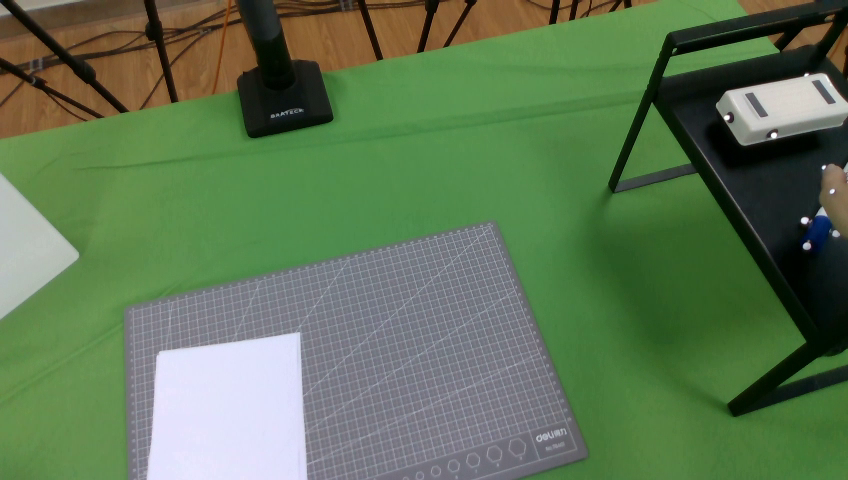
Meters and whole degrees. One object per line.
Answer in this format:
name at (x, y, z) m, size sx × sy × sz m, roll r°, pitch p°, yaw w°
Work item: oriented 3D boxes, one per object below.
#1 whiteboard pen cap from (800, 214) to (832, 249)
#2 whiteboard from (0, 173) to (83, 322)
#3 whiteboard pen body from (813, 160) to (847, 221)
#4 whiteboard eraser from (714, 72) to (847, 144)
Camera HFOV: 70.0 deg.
whiteboard pen cap at (0.344, -0.009, 0.530) m, size 0.018 × 0.018 × 0.033 m, roll 34°, pitch 65°, yaw 20°
whiteboard at (-0.572, -0.035, 0.632) m, size 0.142 × 0.309 × 0.217 m, roll 26°, pitch 61°, yaw 38°
whiteboard pen body at (0.382, -0.046, 0.555) m, size 0.017 × 0.017 × 0.140 m, roll 35°, pitch 65°, yaw 20°
whiteboard eraser at (0.345, -0.126, 0.587) m, size 0.113 × 0.042 × 0.055 m, roll -13°, pitch 58°, yaw -7°
